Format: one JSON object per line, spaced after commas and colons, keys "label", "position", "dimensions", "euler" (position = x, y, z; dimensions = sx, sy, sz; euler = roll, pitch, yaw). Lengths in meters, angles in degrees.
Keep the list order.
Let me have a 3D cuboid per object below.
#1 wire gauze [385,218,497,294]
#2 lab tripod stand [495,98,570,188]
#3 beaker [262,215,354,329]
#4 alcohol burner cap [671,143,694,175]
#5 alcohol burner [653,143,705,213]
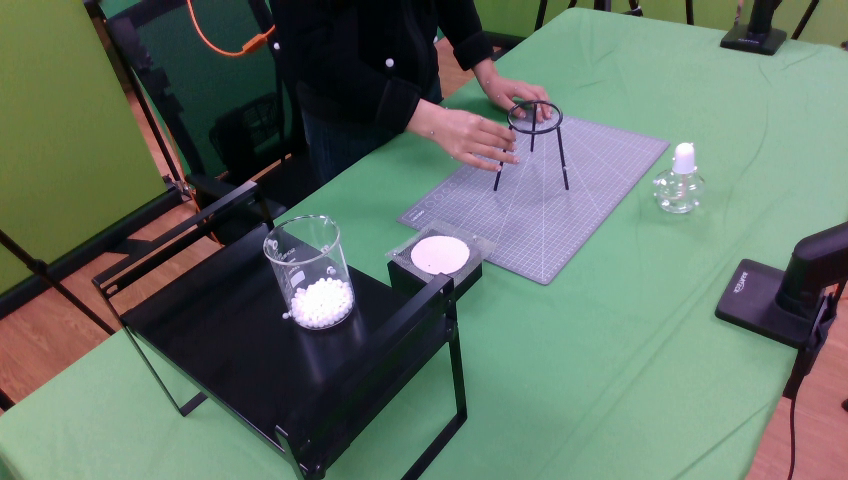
{"label": "wire gauze", "position": [0.025, 0.016, 0.886], "dimensions": [0.124, 0.011, 0.122], "euler": [28, 49, 33]}
{"label": "lab tripod stand", "position": [0.184, -0.158, 1.026], "dimensions": [0.148, 0.132, 0.147], "euler": [-3, 49, 4]}
{"label": "beaker", "position": [-0.112, 0.034, 0.616], "dimensions": [0.073, 0.101, 0.084], "euler": [13, 44, 23]}
{"label": "alcohol burner cap", "position": [0.404, -0.129, 0.941], "dimensions": [0.034, 0.048, 0.033], "euler": [-9, 40, 8]}
{"label": "alcohol burner", "position": [0.408, -0.102, 0.963], "dimensions": [0.078, 0.120, 0.077], "euler": [-6, 42, 6]}
